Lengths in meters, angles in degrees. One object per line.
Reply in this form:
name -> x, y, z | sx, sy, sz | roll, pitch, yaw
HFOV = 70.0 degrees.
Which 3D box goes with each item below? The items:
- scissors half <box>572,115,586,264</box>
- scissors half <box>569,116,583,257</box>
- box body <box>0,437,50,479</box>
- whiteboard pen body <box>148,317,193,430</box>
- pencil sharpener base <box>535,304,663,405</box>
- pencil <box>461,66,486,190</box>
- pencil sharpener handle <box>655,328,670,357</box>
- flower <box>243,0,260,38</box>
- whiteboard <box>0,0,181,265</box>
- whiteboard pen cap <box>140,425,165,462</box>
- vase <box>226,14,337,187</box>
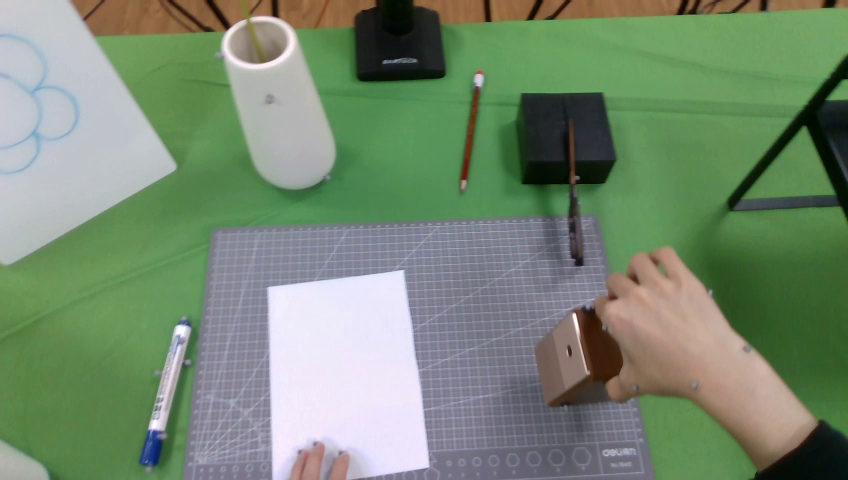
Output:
scissors half -> 0.174, -0.059, 0.689 | 0.012, 0.040, 0.174 | -5, 82, 23
scissors half -> 0.167, -0.065, 0.671 | 0.013, 0.040, 0.174 | -3, 64, 18
box body -> -0.543, 0.217, 0.485 | 0.363, 0.161, 0.253 | 22, 65, 10
whiteboard pen body -> -0.256, 0.144, 0.609 | 0.017, 0.017, 0.139 | 4, 61, 1
pencil sharpener base -> 0.155, 0.104, 0.545 | 0.077, 0.107, 0.061 | -2, 63, -11
pencil -> 0.062, -0.145, 0.768 | 0.012, 0.012, 0.192 | 9, 64, 4
pencil sharpener handle -> 0.207, 0.094, 0.546 | 0.031, 0.068, 0.036 | -2, 73, -11
flower -> -0.160, -0.194, 0.589 | 0.044, 0.365, 0.038 | -9, 46, -2
whiteboard -> -0.447, -0.167, 0.637 | 0.217, 0.309, 0.142 | -34, 49, -16
whiteboard pen cap -> -0.259, 0.195, 0.581 | 0.018, 0.018, 0.033 | 3, 59, 1
vase -> -0.153, -0.144, 0.657 | 0.098, 0.201, 0.097 | 0, 62, 0
